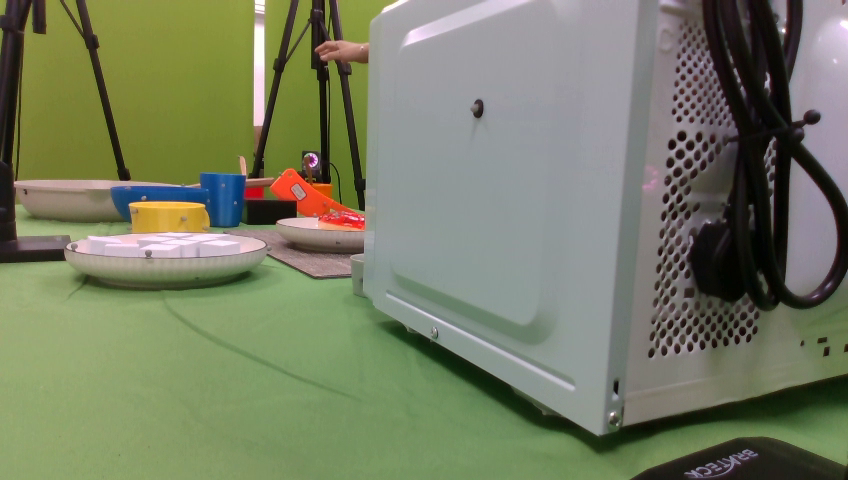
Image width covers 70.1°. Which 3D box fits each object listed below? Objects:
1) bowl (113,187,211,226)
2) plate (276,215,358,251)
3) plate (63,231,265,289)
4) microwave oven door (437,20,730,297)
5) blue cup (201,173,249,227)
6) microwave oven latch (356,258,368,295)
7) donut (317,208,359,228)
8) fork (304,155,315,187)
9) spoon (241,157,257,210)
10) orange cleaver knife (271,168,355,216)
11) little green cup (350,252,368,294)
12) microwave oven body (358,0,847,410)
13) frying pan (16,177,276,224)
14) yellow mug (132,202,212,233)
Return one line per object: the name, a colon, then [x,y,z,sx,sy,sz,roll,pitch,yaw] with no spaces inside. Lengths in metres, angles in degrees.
bowl: [-0.436,-0.046,1.013,0.151,0.077,0.151,2,7,0]
plate: [-0.126,-0.012,0.950,0.209,0.038,0.209,2,7,0]
plate: [-0.288,0.021,0.687,0.208,0.039,0.207,2,8,0]
microwave oven door: [0.181,-0.076,0.618,0.358,0.243,0.039,-2,9,-28]
blue cup: [-0.384,-0.076,1.164,0.093,0.100,0.092,2,5,0]
microwave oven latch: [-0.019,0.031,0.529,0.079,0.029,0.030,-1,7,-26]
donut: [-0.118,-0.024,0.954,0.099,0.048,0.099,5,7,0]
fork: [-0.268,-0.133,1.446,0.028,0.018,0.207,3,-36,0]
spoon: [-0.432,-0.140,1.472,0.042,0.021,0.193,1,50,-22]
orange cleaver knife: [-0.236,-0.084,1.333,0.212,0.077,0.012,31,-10,-32]
little green cup: [-0.048,0.034,0.633,0.061,0.038,0.061,3,7,0]
microwave oven body: [0.210,-0.051,0.471,0.444,0.260,0.324,-1,7,-28]
frying pan: [-0.553,-0.097,1.266,0.490,0.102,0.305,-10,13,-24]
yellow mug: [-0.356,-0.020,0.878,0.099,0.064,0.131,5,7,21]
